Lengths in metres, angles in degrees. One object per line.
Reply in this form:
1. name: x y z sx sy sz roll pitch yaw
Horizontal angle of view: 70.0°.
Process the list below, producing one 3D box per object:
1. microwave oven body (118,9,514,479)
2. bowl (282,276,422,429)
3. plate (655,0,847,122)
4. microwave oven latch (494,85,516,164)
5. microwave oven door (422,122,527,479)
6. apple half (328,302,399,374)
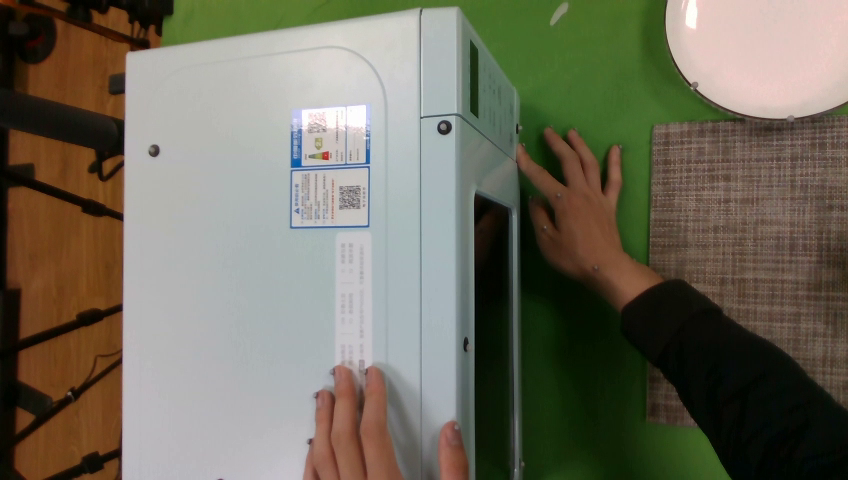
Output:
1. microwave oven body: -0.088 0.058 0.586 0.325 0.261 0.441 -1 89 19
2. bowl: -0.060 0.105 0.616 0.150 0.077 0.151 4 99 24
3. plate: 0.328 -0.211 0.569 0.207 0.039 0.207 -1 89 19
4. microwave oven latch: 0.082 -0.119 0.633 0.030 0.029 0.079 1 90 19
5. microwave oven door: 0.050 0.096 0.532 0.039 0.245 0.355 -2 88 20
6. apple half: -0.064 0.104 0.606 0.081 0.033 0.081 4 104 15
